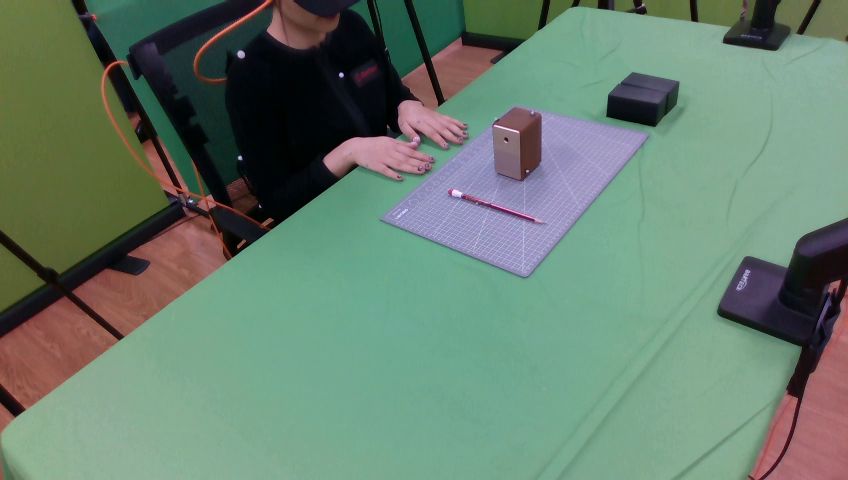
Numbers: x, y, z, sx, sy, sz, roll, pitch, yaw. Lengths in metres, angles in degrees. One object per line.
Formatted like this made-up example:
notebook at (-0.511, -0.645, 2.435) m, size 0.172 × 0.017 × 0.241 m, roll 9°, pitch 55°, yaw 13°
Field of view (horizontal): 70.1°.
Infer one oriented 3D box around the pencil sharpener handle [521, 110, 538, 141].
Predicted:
pencil sharpener handle at (0.198, -0.214, 1.107) m, size 0.036 × 0.068 × 0.031 m, roll 30°, pitch 53°, yaw 25°

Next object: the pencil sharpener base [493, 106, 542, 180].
pencil sharpener base at (0.170, -0.175, 1.085) m, size 0.061 × 0.107 × 0.077 m, roll 23°, pitch 49°, yaw 33°

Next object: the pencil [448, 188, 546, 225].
pencil at (0.122, -0.057, 1.033) m, size 0.192 × 0.012 × 0.012 m, roll 22°, pitch 50°, yaw 30°
